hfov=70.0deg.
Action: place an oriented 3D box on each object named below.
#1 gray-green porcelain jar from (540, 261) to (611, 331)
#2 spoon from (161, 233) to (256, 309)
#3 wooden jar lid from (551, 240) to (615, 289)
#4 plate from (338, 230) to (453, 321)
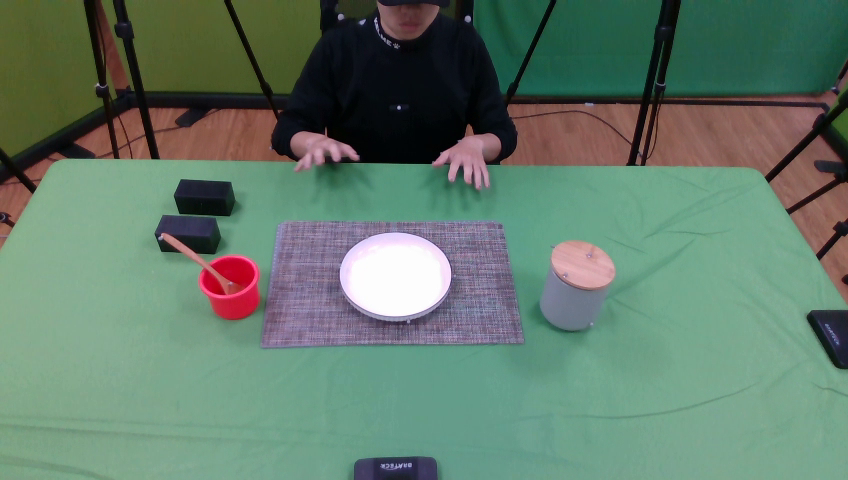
[{"bbox_3d":[0.262,0.088,1.058,0.106,0.127,0.105,2,46,-2],"label":"gray-green porcelain jar"},{"bbox_3d":[-0.366,0.051,1.036,0.194,0.021,0.041,47,45,-21],"label":"spoon"},{"bbox_3d":[0.263,0.044,1.011,0.108,0.021,0.107,4,45,-4],"label":"wooden jar lid"},{"bbox_3d":[-0.052,0.068,1.111,0.208,0.039,0.206,2,46,-2],"label":"plate"}]
